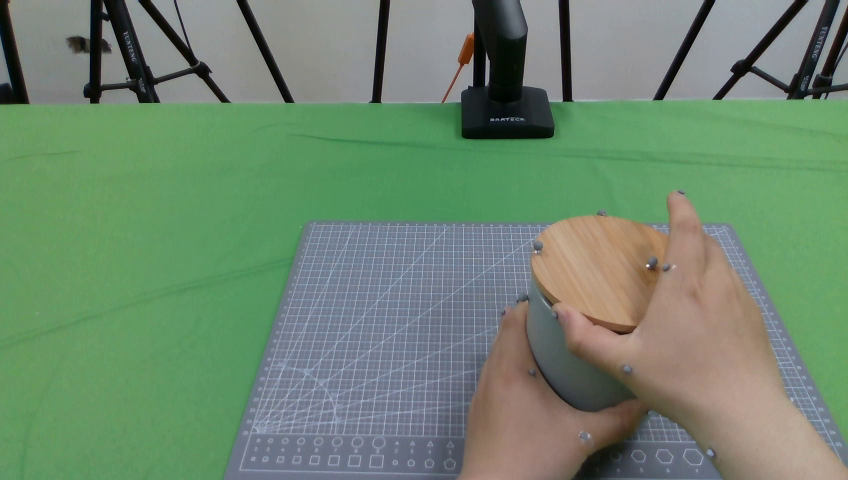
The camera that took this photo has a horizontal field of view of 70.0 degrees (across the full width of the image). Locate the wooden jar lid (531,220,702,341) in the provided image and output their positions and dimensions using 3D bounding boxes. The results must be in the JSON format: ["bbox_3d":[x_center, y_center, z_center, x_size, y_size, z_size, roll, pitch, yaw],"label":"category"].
[{"bbox_3d":[0.123,0.026,0.397,0.108,0.021,0.107,1,38,0],"label":"wooden jar lid"}]

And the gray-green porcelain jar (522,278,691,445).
[{"bbox_3d":[0.126,0.077,0.439,0.106,0.127,0.105,-1,40,1],"label":"gray-green porcelain jar"}]
